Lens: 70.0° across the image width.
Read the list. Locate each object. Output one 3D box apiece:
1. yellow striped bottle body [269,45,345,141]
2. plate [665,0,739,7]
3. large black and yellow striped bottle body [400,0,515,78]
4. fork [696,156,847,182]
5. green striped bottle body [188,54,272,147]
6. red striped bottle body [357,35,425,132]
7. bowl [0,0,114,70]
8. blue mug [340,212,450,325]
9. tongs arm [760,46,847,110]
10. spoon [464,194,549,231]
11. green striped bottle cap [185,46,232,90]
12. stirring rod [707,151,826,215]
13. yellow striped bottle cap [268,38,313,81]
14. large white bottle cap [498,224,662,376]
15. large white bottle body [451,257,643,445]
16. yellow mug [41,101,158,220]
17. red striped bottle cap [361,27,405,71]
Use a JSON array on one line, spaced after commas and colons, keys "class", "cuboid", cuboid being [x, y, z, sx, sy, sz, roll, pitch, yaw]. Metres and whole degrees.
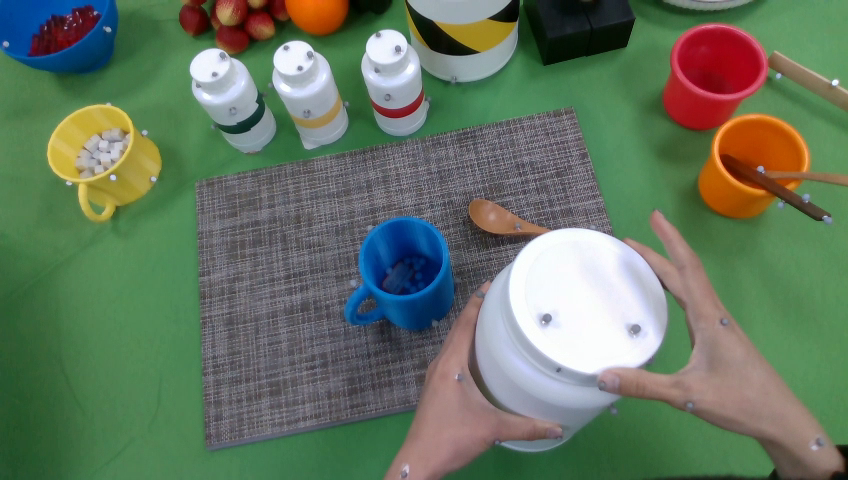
[{"class": "yellow striped bottle body", "cuboid": [-0.131, -0.167, 0.673, 0.063, 0.121, 0.062, -2, 68, 5]}, {"class": "plate", "cuboid": [0.339, -0.371, 0.756, 0.209, 0.038, 0.207, -1, 69, 4]}, {"class": "large black and yellow striped bottle body", "cuboid": [0.036, -0.285, 0.670, 0.131, 0.185, 0.130, -2, 69, 5]}, {"class": "fork", "cuboid": [0.354, -0.063, 0.576, 0.028, 0.019, 0.205, -48, 28, -13]}, {"class": "green striped bottle body", "cuboid": [-0.218, -0.160, 0.677, 0.063, 0.120, 0.062, -2, 68, 4]}, {"class": "red striped bottle body", "cuboid": [-0.036, -0.176, 0.668, 0.063, 0.120, 0.062, -3, 68, 7]}, {"class": "bowl", "cuboid": [-0.453, -0.269, 0.762, 0.151, 0.077, 0.150, -1, 69, 4]}, {"class": "blue mug", "cuboid": [-0.031, 0.040, 0.588, 0.116, 0.106, 0.081, -35, 69, -8]}, {"class": "tongs arm", "cuboid": [0.543, -0.113, 0.640, 0.382, 0.027, 0.050, 39, 73, 17]}, {"class": "spoon", "cuboid": [0.134, -0.007, 0.637, 0.193, 0.022, 0.041, 18, 51, 11]}, {"class": "green striped bottle cap", "cuboid": [-0.224, -0.179, 0.629, 0.044, 0.020, 0.044, -1, 67, 3]}, {"class": "stirring rod", "cuboid": [0.323, -0.059, 0.584, 0.014, 0.006, 0.174, -9, 25, -2]}, {"class": "yellow striped bottle cap", "cuboid": [-0.137, -0.186, 0.624, 0.044, 0.019, 0.044, 0, 65, 1]}, {"class": "large white bottle cap", "cuboid": [0.110, 0.040, 0.430, 0.115, 0.018, 0.114, 4, 60, -6]}, {"class": "large white bottle body", "cuboid": [0.100, 0.085, 0.504, 0.131, 0.186, 0.129, 5, 58, -7]}, {"class": "yellow mug", "cuboid": [-0.370, -0.085, 0.690, 0.100, 0.064, 0.130, -2, 69, 4]}, {"class": "red striped bottle cap", "cuboid": [-0.042, -0.196, 0.620, 0.044, 0.018, 0.044, 0, 67, 1]}]
